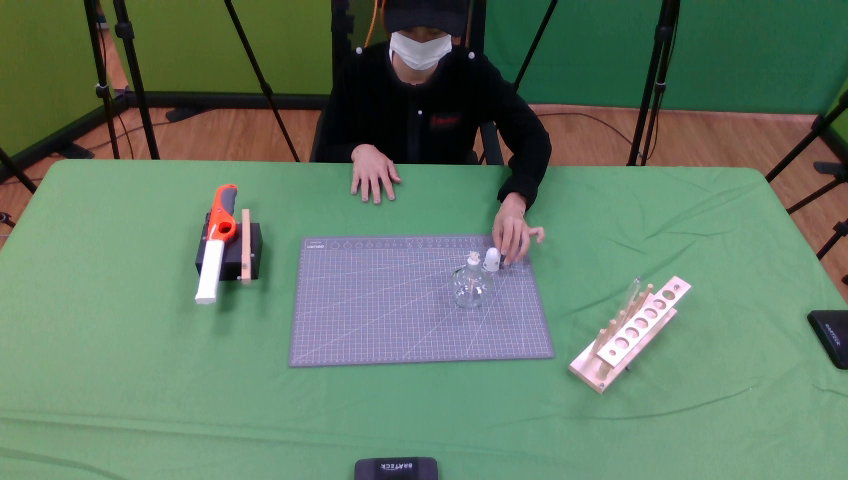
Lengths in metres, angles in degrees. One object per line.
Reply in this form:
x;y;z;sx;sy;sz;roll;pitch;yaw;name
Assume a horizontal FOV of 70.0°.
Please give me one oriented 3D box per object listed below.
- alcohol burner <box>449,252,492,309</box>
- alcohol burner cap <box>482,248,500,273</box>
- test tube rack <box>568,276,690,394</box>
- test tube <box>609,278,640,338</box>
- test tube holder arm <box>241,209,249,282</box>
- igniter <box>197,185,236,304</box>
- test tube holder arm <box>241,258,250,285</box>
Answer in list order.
0.084;0.066;1.074;0.078;0.120;0.077;1;44;-1;alcohol burner
0.130;0.036;1.157;0.034;0.048;0.033;1;45;-1;alcohol burner cap
0.354;0.149;1.039;0.242;0.085;0.066;-34;56;-31;test tube rack
0.331;0.115;1.007;0.017;0.151;0.017;2;45;-2;test tube
-0.324;0.006;1.096;0.015;0.013;0.177;-2;48;-14;test tube holder arm
-0.376;-0.002;1.101;0.057;0.025;0.274;-1;49;-7;igniter
-0.316;0.043;1.071;0.015;0.010;0.087;-2;48;-14;test tube holder arm
